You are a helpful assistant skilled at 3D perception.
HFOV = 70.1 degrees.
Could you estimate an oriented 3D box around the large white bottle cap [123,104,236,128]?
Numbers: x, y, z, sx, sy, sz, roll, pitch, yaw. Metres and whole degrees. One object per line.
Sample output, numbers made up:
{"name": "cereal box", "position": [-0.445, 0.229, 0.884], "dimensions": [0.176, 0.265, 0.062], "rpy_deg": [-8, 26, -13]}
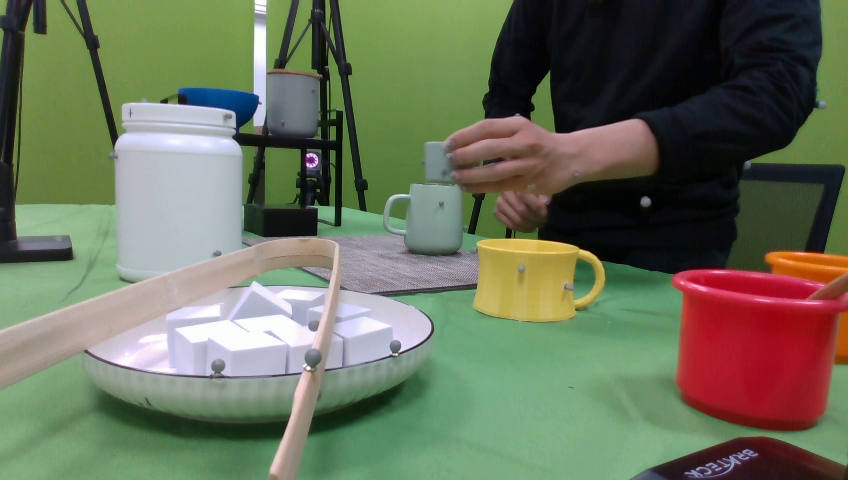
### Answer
{"name": "large white bottle cap", "position": [-0.266, -0.135, 0.663], "dimensions": [0.115, 0.018, 0.115], "rpy_deg": [3, 8, 0]}

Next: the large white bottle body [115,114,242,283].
{"name": "large white bottle body", "position": [-0.270, -0.051, 0.673], "dimensions": [0.131, 0.184, 0.130], "rpy_deg": [2, 8, 0]}

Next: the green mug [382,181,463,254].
{"name": "green mug", "position": [-0.001, -0.036, 0.922], "dimensions": [0.126, 0.105, 0.092], "rpy_deg": [0, 8, -16]}

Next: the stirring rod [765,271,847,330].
{"name": "stirring rod", "position": [0.352, 0.020, 0.481], "dimensions": [0.176, 0.006, 0.014], "rpy_deg": [-40, -8, 17]}

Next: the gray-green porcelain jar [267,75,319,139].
{"name": "gray-green porcelain jar", "position": [-0.277, -0.279, 1.280], "dimensions": [0.106, 0.126, 0.106], "rpy_deg": [2, 8, 0]}

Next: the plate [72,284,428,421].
{"name": "plate", "position": [-0.102, 0.067, 0.381], "dimensions": [0.208, 0.039, 0.207], "rpy_deg": [3, 7, 0]}

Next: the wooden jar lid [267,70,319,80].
{"name": "wooden jar lid", "position": [-0.275, -0.339, 1.271], "dimensions": [0.108, 0.020, 0.108], "rpy_deg": [5, 6, 0]}

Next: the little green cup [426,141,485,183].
{"name": "little green cup", "position": [0.031, -0.081, 0.629], "dimensions": [0.061, 0.038, 0.061], "rpy_deg": [6, 5, 0]}

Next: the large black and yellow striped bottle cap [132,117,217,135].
{"name": "large black and yellow striped bottle cap", "position": [-0.359, -0.164, 0.875], "dimensions": [0.115, 0.019, 0.115], "rpy_deg": [2, 6, 0]}

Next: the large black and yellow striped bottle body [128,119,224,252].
{"name": "large black and yellow striped bottle body", "position": [-0.361, -0.081, 0.887], "dimensions": [0.131, 0.184, 0.130], "rpy_deg": [2, 8, 0]}

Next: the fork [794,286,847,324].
{"name": "fork", "position": [0.332, 0.018, 0.443], "dimensions": [0.028, 0.018, 0.207], "rpy_deg": [-3, -35, -16]}

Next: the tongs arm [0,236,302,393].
{"name": "tongs arm", "position": [-0.157, 0.038, 0.347], "dimensions": [0.028, 0.028, 0.388], "rpy_deg": [-3, 8, 11]}

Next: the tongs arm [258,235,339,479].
{"name": "tongs arm", "position": [-0.074, 0.040, 0.345], "dimensions": [0.051, 0.026, 0.384], "rpy_deg": [-1, 10, -3]}

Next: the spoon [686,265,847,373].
{"name": "spoon", "position": [0.214, 0.032, 0.327], "dimensions": [0.042, 0.021, 0.193], "rpy_deg": [-3, -35, -26]}

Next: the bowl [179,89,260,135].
{"name": "bowl", "position": [-0.400, -0.248, 1.188], "dimensions": [0.151, 0.077, 0.151], "rpy_deg": [3, 7, 0]}

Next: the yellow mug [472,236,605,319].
{"name": "yellow mug", "position": [0.114, 0.034, 0.590], "dimensions": [0.131, 0.064, 0.100], "rpy_deg": [2, 7, -7]}
